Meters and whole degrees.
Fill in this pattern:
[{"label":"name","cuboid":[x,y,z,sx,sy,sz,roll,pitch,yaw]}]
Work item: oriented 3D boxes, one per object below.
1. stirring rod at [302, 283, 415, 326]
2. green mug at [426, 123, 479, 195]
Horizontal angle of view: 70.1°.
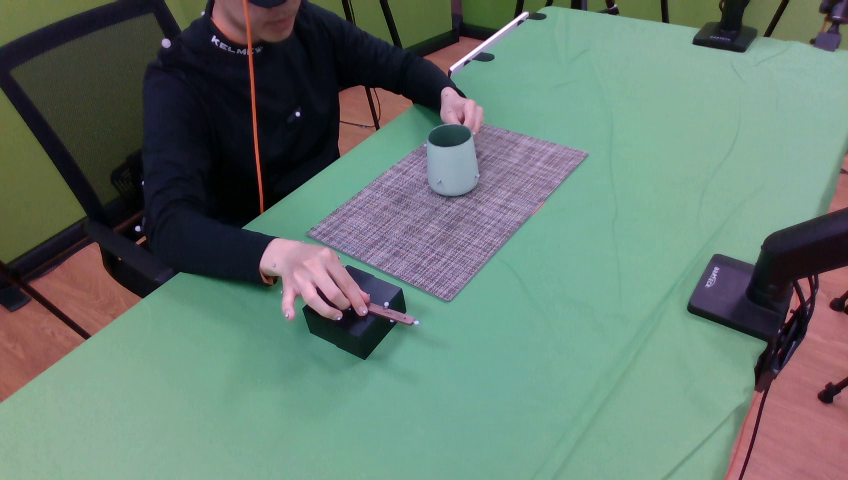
[{"label":"stirring rod","cuboid":[-0.091,0.086,0.817,0.175,0.006,0.014,15,45,23]},{"label":"green mug","cuboid":[0.053,-0.151,1.067,0.092,0.105,0.125,5,42,14]}]
